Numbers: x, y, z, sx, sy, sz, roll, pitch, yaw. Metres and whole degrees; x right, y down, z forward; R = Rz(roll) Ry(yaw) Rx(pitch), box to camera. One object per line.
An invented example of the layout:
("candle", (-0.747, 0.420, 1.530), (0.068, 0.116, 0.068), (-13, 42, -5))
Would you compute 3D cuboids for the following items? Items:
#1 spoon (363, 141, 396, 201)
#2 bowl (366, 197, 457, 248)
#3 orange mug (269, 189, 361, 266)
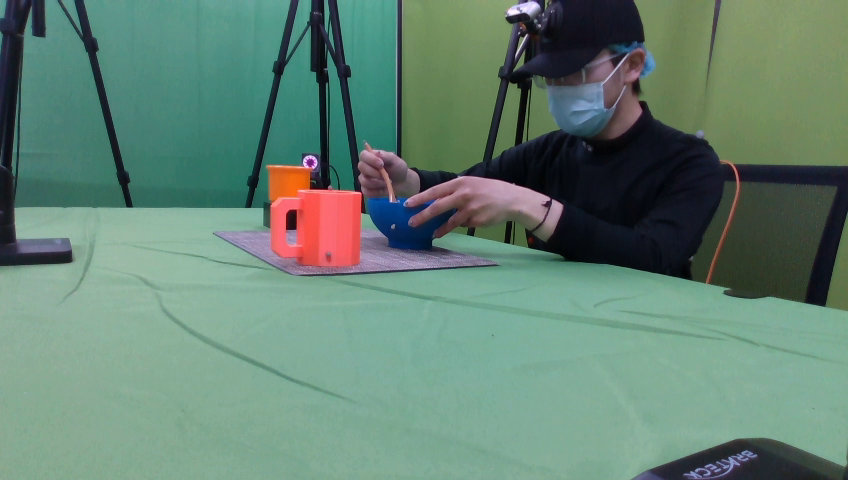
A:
("spoon", (-0.064, -0.097, 1.022), (0.021, 0.193, 0.042), (-28, -29, 8))
("bowl", (-0.022, -0.029, 1.001), (0.151, 0.077, 0.151), (2, 7, 0))
("orange mug", (-0.142, -0.019, 0.796), (0.127, 0.100, 0.083), (2, 5, -39))
